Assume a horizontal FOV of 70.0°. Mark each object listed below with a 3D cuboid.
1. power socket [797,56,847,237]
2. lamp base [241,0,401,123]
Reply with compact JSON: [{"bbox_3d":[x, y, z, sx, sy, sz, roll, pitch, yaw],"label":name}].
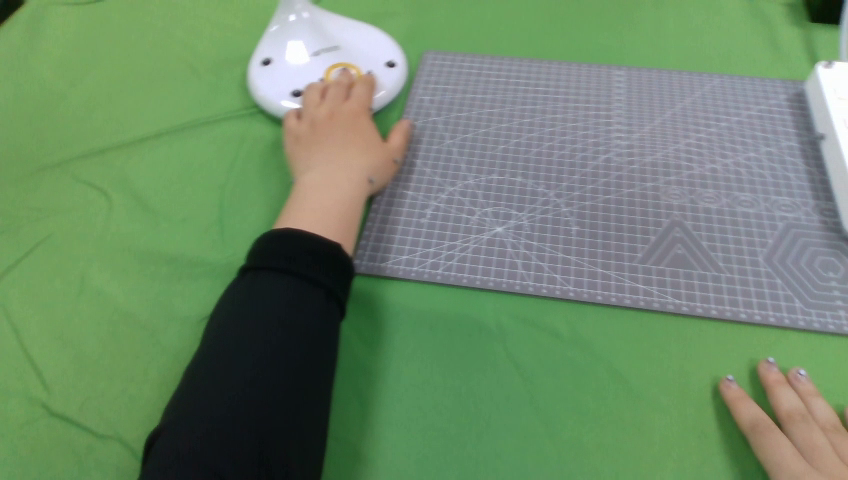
[{"bbox_3d":[0.377,-0.084,0.518,0.072,0.033,0.225,9,52,7],"label":"power socket"},{"bbox_3d":[-0.115,-0.229,0.561,0.160,0.182,0.177,-34,55,-23],"label":"lamp base"}]
